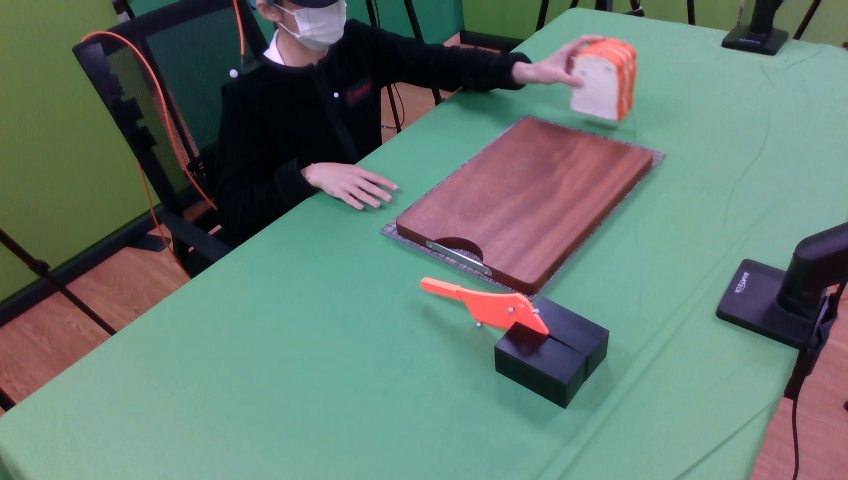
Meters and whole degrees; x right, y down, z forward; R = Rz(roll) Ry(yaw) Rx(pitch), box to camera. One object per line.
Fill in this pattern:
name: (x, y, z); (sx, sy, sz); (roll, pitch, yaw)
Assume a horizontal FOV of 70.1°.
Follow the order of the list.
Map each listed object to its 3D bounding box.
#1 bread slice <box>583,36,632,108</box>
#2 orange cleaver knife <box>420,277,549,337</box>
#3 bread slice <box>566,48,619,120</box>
bread slice: (0.342, -0.316, 1.140); (0.106, 0.135, 0.018); (25, 53, 28)
orange cleaver knife: (0.076, 0.089, 0.813); (0.209, 0.077, 0.012); (9, 44, 47)
bread slice: (0.307, -0.289, 1.114); (0.104, 0.132, 0.019); (25, 54, 35)
